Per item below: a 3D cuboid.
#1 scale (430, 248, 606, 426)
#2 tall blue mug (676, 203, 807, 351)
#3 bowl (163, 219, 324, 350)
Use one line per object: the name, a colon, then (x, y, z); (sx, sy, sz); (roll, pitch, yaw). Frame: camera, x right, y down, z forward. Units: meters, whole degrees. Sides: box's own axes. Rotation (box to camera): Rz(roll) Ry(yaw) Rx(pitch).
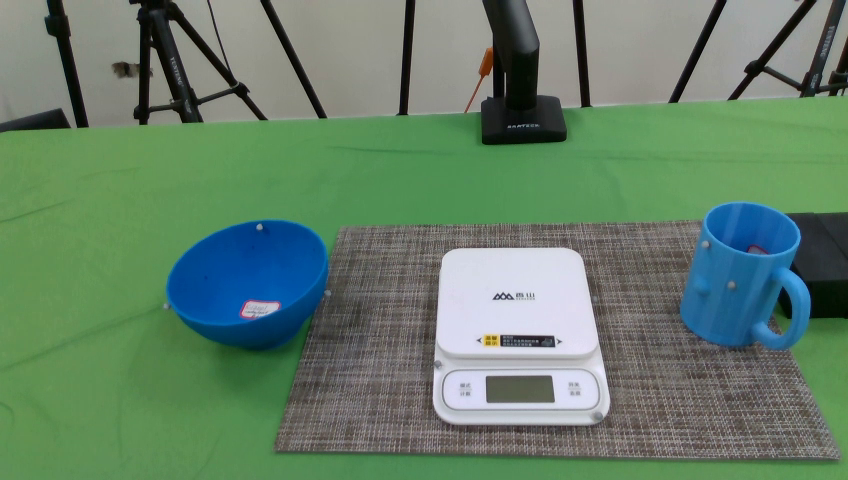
scale: (0.083, 0.082, 0.569); (0.148, 0.032, 0.199); (-1, 40, 5)
tall blue mug: (0.288, 0.038, 0.538); (0.106, 0.109, 0.078); (28, 49, 34)
bowl: (-0.167, 0.055, 0.599); (0.151, 0.077, 0.150); (-3, 40, 3)
